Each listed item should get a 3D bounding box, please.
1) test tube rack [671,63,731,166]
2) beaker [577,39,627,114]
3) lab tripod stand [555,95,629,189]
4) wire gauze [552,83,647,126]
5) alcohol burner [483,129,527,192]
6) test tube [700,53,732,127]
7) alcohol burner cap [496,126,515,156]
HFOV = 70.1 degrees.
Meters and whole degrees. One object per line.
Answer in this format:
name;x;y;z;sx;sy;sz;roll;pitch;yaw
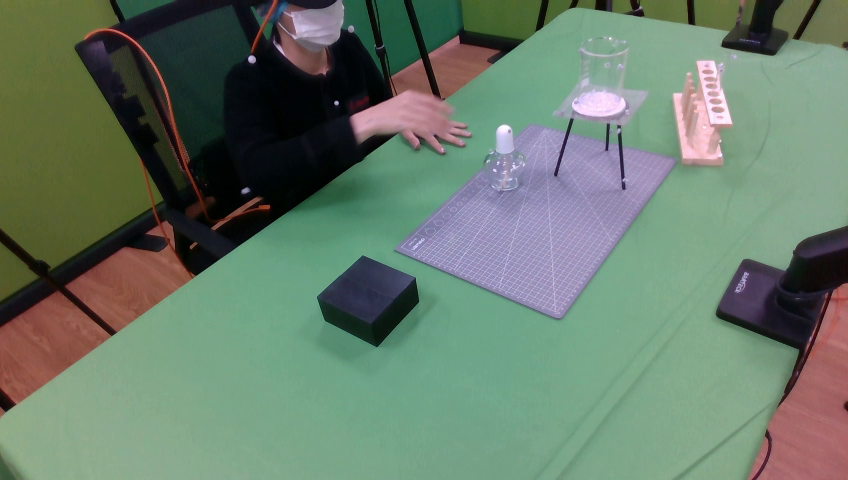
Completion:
test tube rack;0.513;-0.241;1.132;0.066;0.085;0.242;4;41;14
beaker;0.286;-0.264;0.976;0.073;0.101;0.084;25;49;33
lab tripod stand;0.300;-0.174;1.045;0.148;0.132;0.147;-5;38;5
wire gauze;0.293;-0.224;1.004;0.120;0.011;0.125;19;43;26
alcohol burner;0.141;-0.144;1.050;0.078;0.119;0.077;-4;42;4
test tube;0.521;-0.265;1.081;0.017;0.151;0.017;-3;47;3
alcohol burner cap;0.138;-0.172;1.028;0.034;0.048;0.033;-5;38;5
